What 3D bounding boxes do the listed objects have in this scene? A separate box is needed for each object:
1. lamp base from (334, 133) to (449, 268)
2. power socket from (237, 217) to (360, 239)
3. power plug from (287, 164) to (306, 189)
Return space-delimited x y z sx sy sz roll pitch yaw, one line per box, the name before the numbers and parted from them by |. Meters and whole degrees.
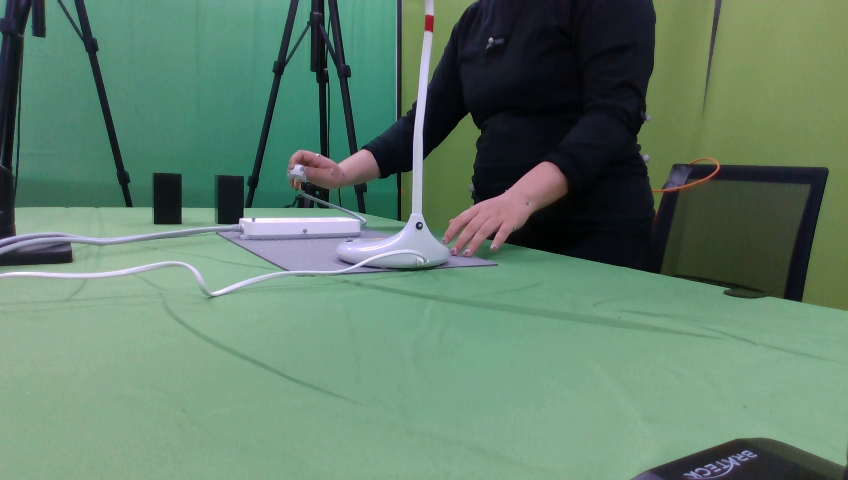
lamp base | -0.034 -0.057 0.831 0.161 0.180 0.178 -3 11 -36
power socket | -0.221 -0.023 1.080 0.228 0.032 0.072 -2 8 -32
power plug | -0.244 -0.118 1.183 0.035 0.052 0.072 4 -18 8
